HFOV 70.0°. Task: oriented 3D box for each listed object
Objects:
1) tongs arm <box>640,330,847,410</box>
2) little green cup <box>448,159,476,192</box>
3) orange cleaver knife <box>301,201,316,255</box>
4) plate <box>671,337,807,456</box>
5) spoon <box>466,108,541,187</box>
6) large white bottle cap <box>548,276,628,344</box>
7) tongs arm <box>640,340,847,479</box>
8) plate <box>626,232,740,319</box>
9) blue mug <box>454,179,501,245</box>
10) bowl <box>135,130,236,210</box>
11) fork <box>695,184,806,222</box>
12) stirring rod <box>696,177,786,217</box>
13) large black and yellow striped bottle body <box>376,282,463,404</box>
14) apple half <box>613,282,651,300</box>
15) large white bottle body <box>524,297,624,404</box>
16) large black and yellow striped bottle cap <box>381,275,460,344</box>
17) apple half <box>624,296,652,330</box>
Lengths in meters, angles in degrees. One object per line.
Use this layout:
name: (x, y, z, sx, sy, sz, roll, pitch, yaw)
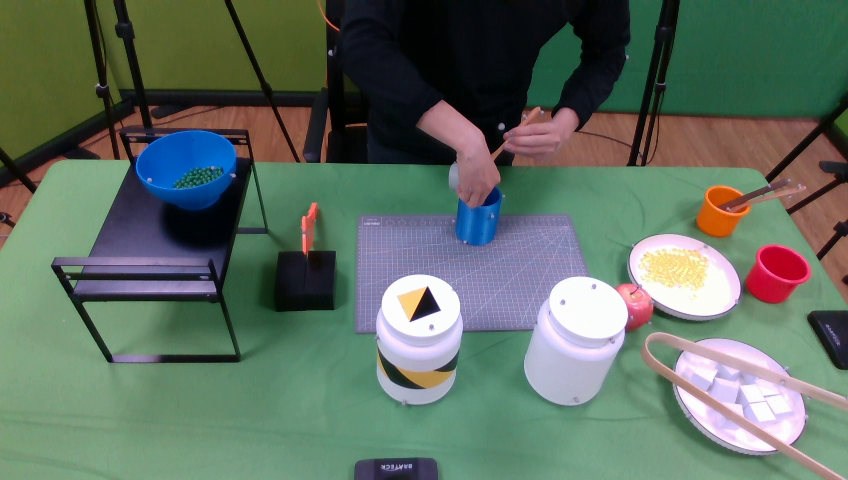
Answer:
tongs arm: (0.543, 0.225, 0.969, 0.384, 0.026, 0.050, 22, 52, 13)
little green cup: (0.073, -0.122, 1.138, 0.038, 0.062, 0.061, 5, 43, 27)
orange cleaver knife: (-0.221, -0.027, 1.160, 0.012, 0.077, 0.210, -1, 15, -4)
plate: (0.504, 0.254, 0.984, 0.208, 0.039, 0.206, 2, 46, -2)
spoon: (0.142, -0.172, 1.114, 0.194, 0.022, 0.041, -44, 70, 3)
large white bottle cap: (0.240, 0.100, 0.890, 0.115, 0.018, 0.114, 3, 47, -3)
tongs arm: (0.500, 0.277, 0.919, 0.386, 0.028, 0.028, 34, 59, 22)
plate: (0.489, 0.071, 1.157, 0.209, 0.038, 0.208, 3, 46, -3)
blue mug: (0.106, -0.067, 1.208, 0.082, 0.106, 0.116, 6, 46, 1)
bowl: (-0.375, -0.102, 0.977, 0.151, 0.077, 0.150, 2, 46, -2)
fork: (0.658, -0.074, 1.229, 0.207, 0.019, 0.028, -24, 34, 36)
stirring rod: (0.648, -0.087, 1.244, 0.176, 0.006, 0.014, -25, 50, 29)
large black and yellow striped bottle body: (-0.010, 0.155, 0.937, 0.131, 0.185, 0.130, 2, 47, -2)
apple half: (0.356, 0.109, 1.086, 0.081, 0.075, 0.053, -13, 44, -12)
large white bottle body: (0.235, 0.159, 0.952, 0.131, 0.185, 0.130, 2, 47, -2)
large black and yellow striped bottle cap: (-0.005, 0.098, 0.874, 0.115, 0.019, 0.114, 2, 45, -2)
apple half: (0.368, 0.135, 1.060, 0.081, 0.081, 0.032, -11, 43, -15)
